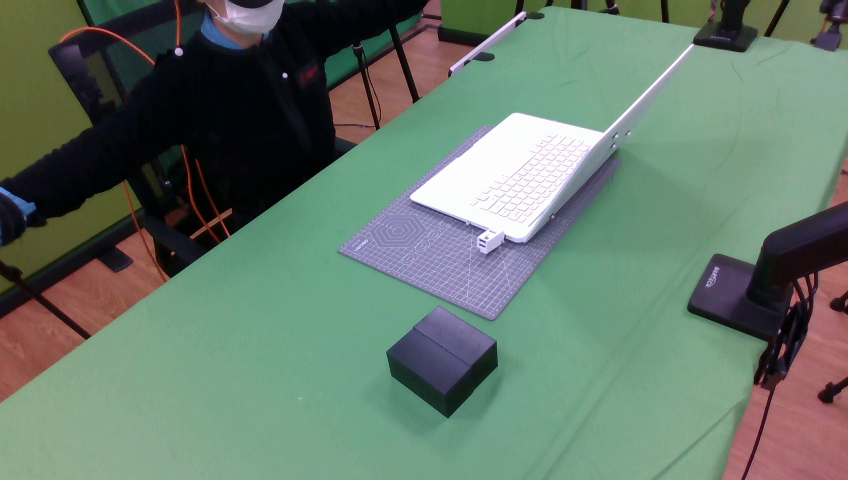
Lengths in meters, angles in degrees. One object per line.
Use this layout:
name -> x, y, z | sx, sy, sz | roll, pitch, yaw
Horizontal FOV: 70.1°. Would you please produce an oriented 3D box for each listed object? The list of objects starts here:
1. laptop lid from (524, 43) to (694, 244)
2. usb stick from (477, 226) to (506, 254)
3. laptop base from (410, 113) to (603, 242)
laptop lid -> 0.290, -0.151, 0.941 | 0.013, 0.241, 0.358 | 40, 54, 12
usb stick -> 0.107, -0.004, 0.933 | 0.021, 0.027, 0.059 | 25, 38, 35
laptop base -> 0.171, -0.127, 1.096 | 0.233, 0.023, 0.355 | 21, 47, 34
